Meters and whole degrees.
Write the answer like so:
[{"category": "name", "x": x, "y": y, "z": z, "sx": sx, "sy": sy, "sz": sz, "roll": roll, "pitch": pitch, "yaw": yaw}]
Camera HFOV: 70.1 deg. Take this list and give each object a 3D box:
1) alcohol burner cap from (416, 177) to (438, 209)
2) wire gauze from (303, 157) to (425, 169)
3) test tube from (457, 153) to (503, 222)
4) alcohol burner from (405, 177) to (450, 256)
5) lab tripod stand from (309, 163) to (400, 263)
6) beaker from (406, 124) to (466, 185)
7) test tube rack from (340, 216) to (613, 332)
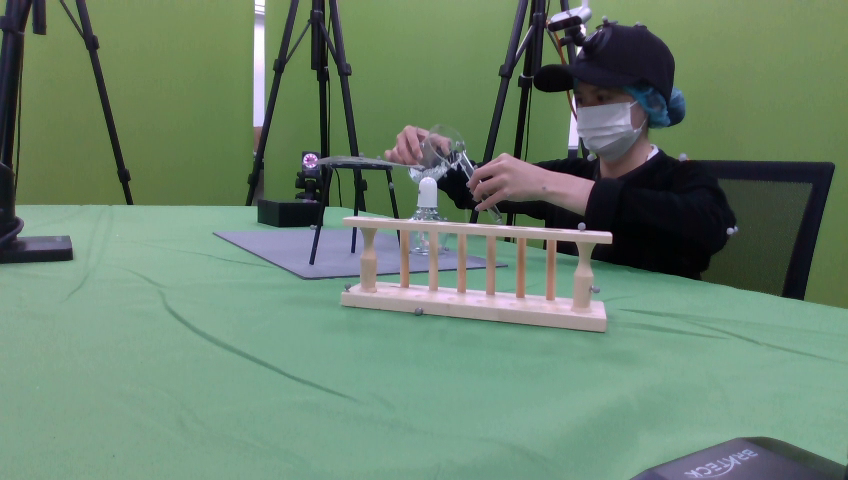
[{"category": "alcohol burner cap", "x": 0.005, "y": -0.072, "z": 0.914, "sx": 0.034, "sy": 0.048, "sz": 0.034, "roll": 3, "pitch": 9, "yaw": 0}, {"category": "wire gauze", "x": -0.082, "y": -0.102, "z": 0.799, "sx": 0.126, "sy": 0.011, "sz": 0.121, "roll": -1, "pitch": 7, "yaw": -30}, {"category": "test tube", "x": 0.089, "y": -0.086, "z": 0.973, "sx": 0.017, "sy": 0.017, "sz": 0.149, "roll": -2, "pitch": 50, "yaw": -33}, {"category": "alcohol burner", "x": 0.004, "y": -0.036, "z": 0.917, "sx": 0.078, "sy": 0.119, "sz": 0.078, "roll": 4, "pitch": 6, "yaw": 0}, {"category": "lab tripod stand", "x": -0.091, "y": -0.037, "z": 0.813, "sx": 0.148, "sy": 0.131, "sz": 0.148, "roll": 1, "pitch": 6, "yaw": 0}, {"category": "beaker", "x": 0.018, "y": -0.143, "z": 1.067, "sx": 0.074, "sy": 0.084, "sz": 0.100, "roll": -9, "pitch": -19, "yaw": -33}, {"category": "test tube rack", "x": 0.047, "y": 0.026, "z": 0.568, "sx": 0.242, "sy": 0.085, "sz": 0.067, "roll": 4, "pitch": 7, "yaw": 13}]
